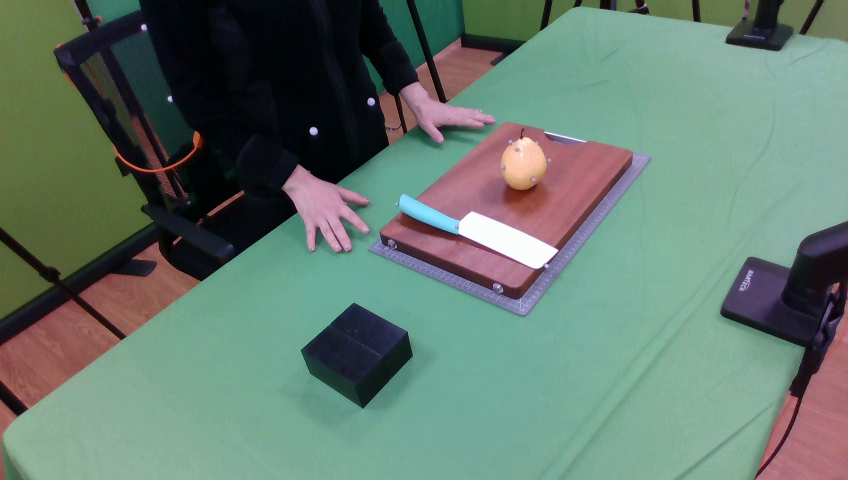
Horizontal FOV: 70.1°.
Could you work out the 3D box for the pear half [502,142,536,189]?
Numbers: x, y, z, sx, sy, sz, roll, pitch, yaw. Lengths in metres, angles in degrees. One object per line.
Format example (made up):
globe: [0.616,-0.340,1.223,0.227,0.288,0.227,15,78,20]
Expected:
pear half: [0.152,-0.119,1.000,0.070,0.088,0.031,28,53,30]

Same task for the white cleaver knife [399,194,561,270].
white cleaver knife: [0.079,-0.019,0.958,0.284,0.021,0.066,26,46,28]

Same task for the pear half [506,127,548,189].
pear half: [0.174,-0.145,1.011,0.076,0.110,0.056,27,52,30]
